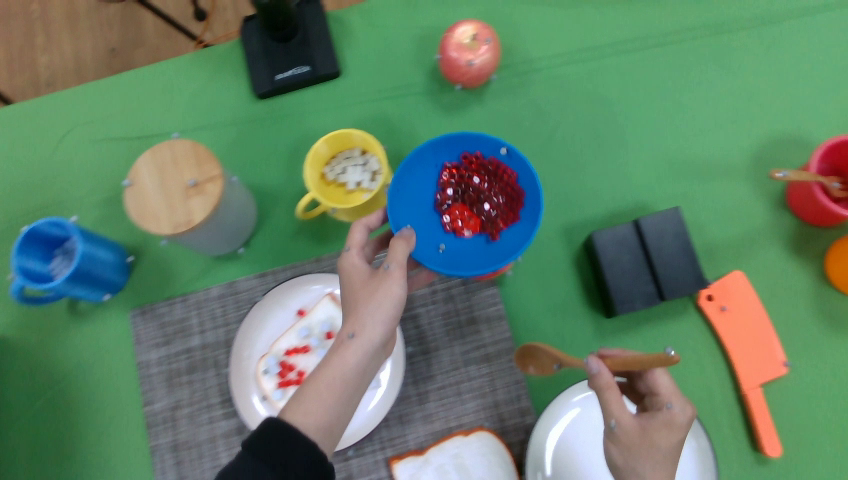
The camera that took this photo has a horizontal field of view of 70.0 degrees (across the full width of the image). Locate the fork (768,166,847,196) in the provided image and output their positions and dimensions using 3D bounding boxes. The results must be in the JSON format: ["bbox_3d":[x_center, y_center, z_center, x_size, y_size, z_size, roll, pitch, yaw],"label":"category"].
[{"bbox_3d":[0.434,-0.068,0.671,0.209,0.018,0.028,2,74,-38],"label":"fork"}]

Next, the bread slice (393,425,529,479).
[{"bbox_3d":[0.049,0.264,0.653,0.134,0.018,0.106,-19,73,-21],"label":"bread slice"}]

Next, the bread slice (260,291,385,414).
[{"bbox_3d":[-0.126,0.140,0.717,0.131,0.019,0.104,-41,78,-6],"label":"bread slice"}]

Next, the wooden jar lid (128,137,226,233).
[{"bbox_3d":[-0.268,-0.059,0.663,0.108,0.021,0.108,-1,76,5],"label":"wooden jar lid"}]

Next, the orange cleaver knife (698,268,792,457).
[{"bbox_3d":[0.381,0.136,0.695,0.077,0.012,0.210,-14,76,-6],"label":"orange cleaver knife"}]

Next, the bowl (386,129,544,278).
[{"bbox_3d":[0.041,-0.026,0.607,0.151,0.077,0.150,-1,72,4],"label":"bowl"}]

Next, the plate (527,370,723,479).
[{"bbox_3d":[0.217,0.250,0.671,0.209,0.038,0.208,-1,78,4],"label":"plate"}]

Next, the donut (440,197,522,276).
[{"bbox_3d":[0.069,-0.004,0.730,0.099,0.048,0.098,-1,78,3],"label":"donut"}]

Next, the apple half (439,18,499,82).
[{"bbox_3d":[0.064,-0.246,0.773,0.080,0.075,0.053,40,77,15],"label":"apple half"}]

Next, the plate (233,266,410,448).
[{"bbox_3d":[-0.118,0.136,0.715,0.207,0.039,0.206,-1,78,4],"label":"plate"}]

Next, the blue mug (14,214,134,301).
[{"bbox_3d":[-0.428,0.033,0.728,0.116,0.106,0.082,-41,77,-5],"label":"blue mug"}]

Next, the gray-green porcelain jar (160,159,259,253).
[{"bbox_3d":[-0.263,-0.044,0.724,0.106,0.127,0.105,-1,77,4],"label":"gray-green porcelain jar"}]

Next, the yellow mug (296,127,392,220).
[{"bbox_3d":[-0.104,-0.071,0.750,0.131,0.064,0.099,-39,78,-4],"label":"yellow mug"}]

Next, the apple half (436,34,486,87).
[{"bbox_3d":[0.040,-0.217,0.766,0.081,0.082,0.033,40,78,12],"label":"apple half"}]

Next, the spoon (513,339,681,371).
[{"bbox_3d":[0.146,0.105,0.544,0.021,0.193,0.042,-42,103,-27],"label":"spoon"}]
